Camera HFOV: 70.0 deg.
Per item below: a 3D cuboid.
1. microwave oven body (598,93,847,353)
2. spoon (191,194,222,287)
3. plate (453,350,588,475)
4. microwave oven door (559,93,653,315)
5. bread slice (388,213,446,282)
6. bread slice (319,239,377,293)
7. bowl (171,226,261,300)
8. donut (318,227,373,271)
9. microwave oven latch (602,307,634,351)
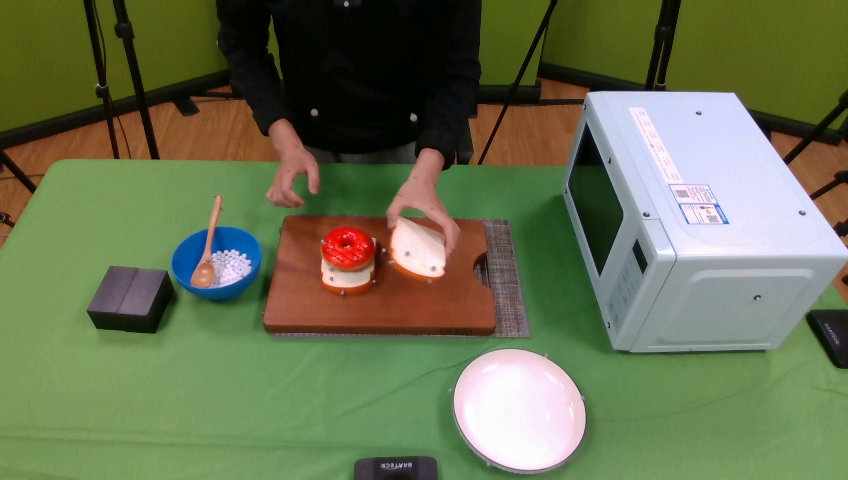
[{"bbox_3d":[0.475,-0.041,1.109,0.326,0.261,0.438,-1,45,-4],"label":"microwave oven body"},{"bbox_3d":[-0.383,0.000,1.088,0.041,0.022,0.193,0,66,6],"label":"spoon"},{"bbox_3d":[0.147,0.267,0.943,0.208,0.039,0.206,2,46,-2],"label":"plate"},{"bbox_3d":[0.327,-0.074,1.123,0.039,0.245,0.353,-1,46,-5],"label":"microwave oven door"},{"bbox_3d":[-0.010,0.016,1.025,0.107,0.018,0.133,16,39,-17],"label":"bread slice"},{"bbox_3d":[-0.140,0.044,1.112,0.105,0.019,0.130,0,44,-3],"label":"bread slice"},{"bbox_3d":[-0.363,0.054,1.081,0.151,0.077,0.150,3,45,-3],"label":"bowl"},{"bbox_3d":[-0.142,0.017,1.096,0.099,0.048,0.098,2,44,-2],"label":"donut"},{"bbox_3d":[0.332,0.153,1.044,0.030,0.029,0.078,-1,45,-4],"label":"microwave oven latch"}]
